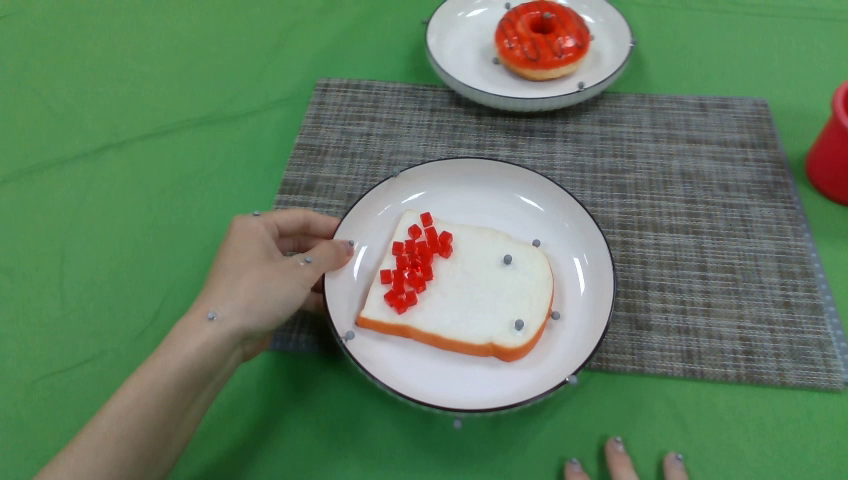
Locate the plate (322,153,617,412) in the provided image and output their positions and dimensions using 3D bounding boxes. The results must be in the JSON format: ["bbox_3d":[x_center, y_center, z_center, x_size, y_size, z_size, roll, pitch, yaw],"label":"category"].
[{"bbox_3d":[0.031,0.026,0.443,0.209,0.038,0.207,-1,57,2],"label":"plate"}]

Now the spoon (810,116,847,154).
[{"bbox_3d":[0.406,-0.098,0.469,0.193,0.022,0.041,-7,38,48],"label":"spoon"}]

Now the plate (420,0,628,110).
[{"bbox_3d":[0.100,-0.200,0.624,0.208,0.039,0.205,-1,53,1],"label":"plate"}]

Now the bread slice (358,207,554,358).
[{"bbox_3d":[0.029,0.029,0.443,0.131,0.019,0.104,13,59,12],"label":"bread slice"}]

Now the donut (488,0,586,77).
[{"bbox_3d":[0.114,-0.205,0.612,0.099,0.048,0.098,0,55,1],"label":"donut"}]
